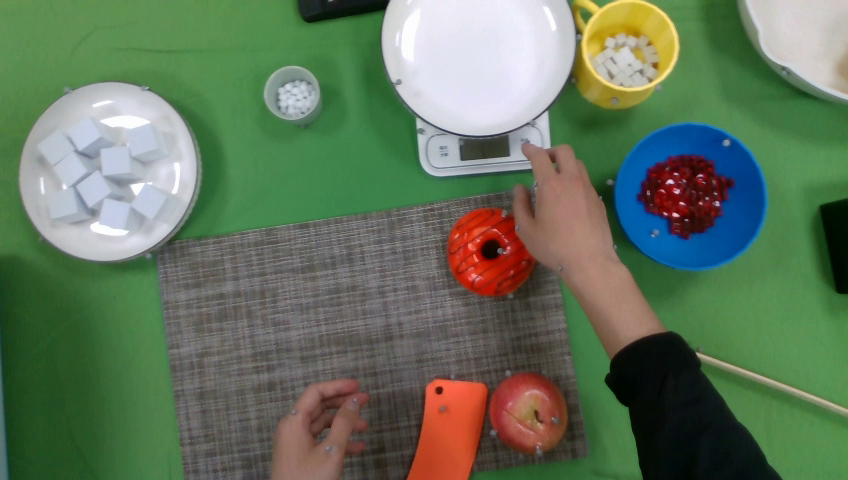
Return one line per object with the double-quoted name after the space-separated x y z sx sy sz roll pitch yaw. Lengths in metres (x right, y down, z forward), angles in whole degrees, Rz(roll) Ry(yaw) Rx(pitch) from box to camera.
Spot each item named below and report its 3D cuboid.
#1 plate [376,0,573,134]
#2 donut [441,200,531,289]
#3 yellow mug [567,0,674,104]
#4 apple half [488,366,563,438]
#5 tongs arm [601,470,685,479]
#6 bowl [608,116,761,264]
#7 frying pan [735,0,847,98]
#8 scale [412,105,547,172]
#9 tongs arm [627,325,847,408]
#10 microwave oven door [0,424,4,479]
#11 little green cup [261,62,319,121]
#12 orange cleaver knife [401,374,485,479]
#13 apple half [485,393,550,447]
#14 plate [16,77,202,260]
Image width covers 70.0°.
0.054 -0.215 0.654 0.209 0.038 0.208 0 86 2 "plate"
0.067 0.005 0.662 0.099 0.048 0.099 0 87 3 "donut"
0.202 -0.219 0.664 0.100 0.064 0.130 -41 85 0 "yellow mug"
0.112 0.162 0.636 0.080 0.075 0.053 33 84 8 "apple half"
0.386 0.251 0.643 0.385 0.026 0.050 7 82 2 "tongs arm"
0.264 -0.048 0.645 0.151 0.077 0.151 0 87 3 "bowl"
0.531 -0.204 0.630 0.307 0.103 0.485 -36 78 1 "frying pan"
0.058 -0.182 0.685 0.148 0.031 0.200 -5 87 3 "scale"
0.404 0.167 0.651 0.387 0.028 0.028 21 79 3 "tongs arm"
-0.489 0.249 0.557 0.039 0.244 0.355 -7 86 2 "microwave oven door"
-0.149 -0.166 0.689 0.061 0.039 0.061 0 86 3 "little green cup"
0.007 0.245 0.662 0.077 0.012 0.211 20 85 -2 "orange cleaver knife"
0.091 0.194 0.634 0.081 0.081 0.033 34 84 5 "apple half"
-0.353 -0.080 0.692 0.207 0.039 0.207 0 86 2 "plate"
